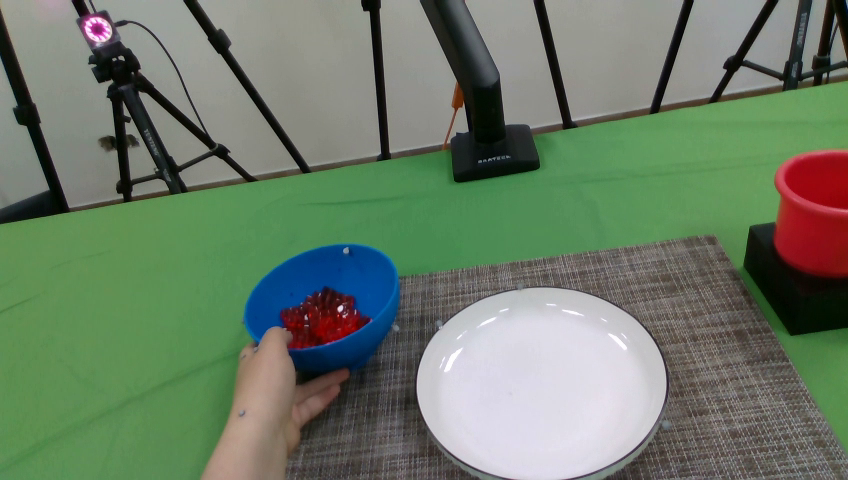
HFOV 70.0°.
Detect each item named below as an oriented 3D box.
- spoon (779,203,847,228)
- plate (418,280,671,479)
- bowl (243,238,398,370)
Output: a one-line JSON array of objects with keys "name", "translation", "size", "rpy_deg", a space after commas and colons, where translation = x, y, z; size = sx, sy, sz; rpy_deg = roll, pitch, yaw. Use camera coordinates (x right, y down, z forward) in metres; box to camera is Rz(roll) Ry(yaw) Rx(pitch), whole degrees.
[{"name": "spoon", "translation": [0.352, -0.032, 0.466], "size": [0.041, 0.021, 0.194], "rpy_deg": [-23, -6, -11]}, {"name": "plate", "translation": [0.100, 0.117, 0.519], "size": [0.207, 0.039, 0.205], "rpy_deg": [-8, 37, 7]}, {"name": "bowl", "translation": [-0.092, 0.075, 0.598], "size": [0.151, 0.077, 0.150], "rpy_deg": [-8, 37, 7]}]
